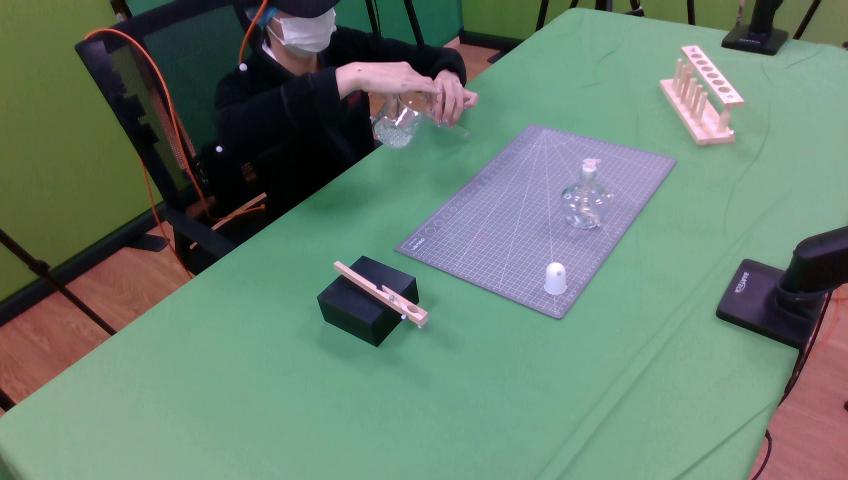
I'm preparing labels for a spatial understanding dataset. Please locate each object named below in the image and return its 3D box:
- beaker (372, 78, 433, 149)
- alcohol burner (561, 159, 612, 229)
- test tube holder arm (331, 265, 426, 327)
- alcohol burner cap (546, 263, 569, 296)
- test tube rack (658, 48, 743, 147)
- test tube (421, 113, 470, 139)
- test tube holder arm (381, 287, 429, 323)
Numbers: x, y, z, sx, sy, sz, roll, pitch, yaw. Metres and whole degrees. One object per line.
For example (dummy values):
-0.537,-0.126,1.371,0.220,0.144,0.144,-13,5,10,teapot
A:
-0.036,-0.206,1.008,0.073,0.084,0.100,0,48,37,beaker
0.257,-0.077,0.951,0.078,0.119,0.077,-3,40,3,alcohol burner
-0.066,0.074,0.828,0.177,0.015,0.013,25,42,33,test tube holder arm
0.191,0.053,0.862,0.034,0.048,0.033,-5,40,4,alcohol burner cap
0.532,-0.284,1.181,0.067,0.085,0.241,-5,40,4,test tube rack
0.042,-0.209,1.115,0.017,0.017,0.151,26,10,34,test tube
-0.028,0.087,0.807,0.087,0.015,0.010,25,42,33,test tube holder arm
